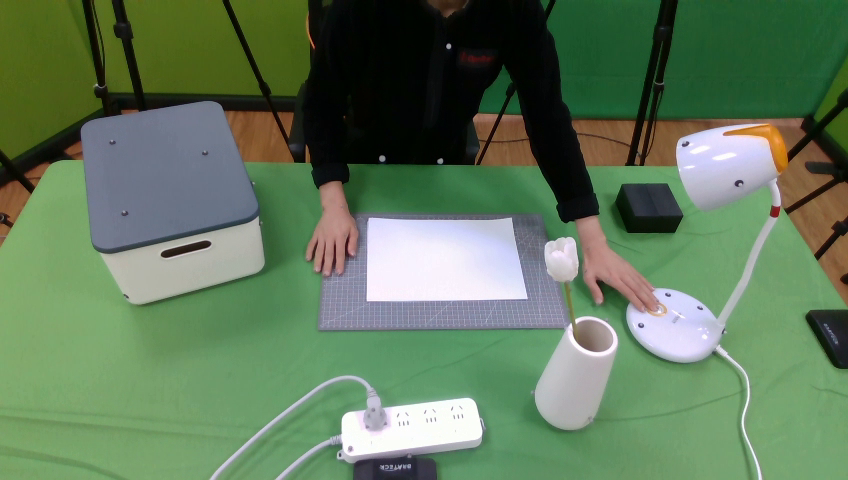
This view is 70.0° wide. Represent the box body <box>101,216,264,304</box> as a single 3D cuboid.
[{"bbox_3d":[-0.465,-0.076,1.137,0.254,0.161,0.361,-16,50,-19],"label":"box body"}]

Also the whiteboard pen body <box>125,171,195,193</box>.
[{"bbox_3d":[-0.553,-0.119,1.270,0.141,0.017,0.017,-18,50,-15],"label":"whiteboard pen body"}]

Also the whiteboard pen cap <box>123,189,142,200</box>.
[{"bbox_3d":[-0.591,-0.092,1.231,0.033,0.018,0.018,-14,49,-17],"label":"whiteboard pen cap"}]

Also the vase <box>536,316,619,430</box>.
[{"bbox_3d":[0.229,0.200,0.901,0.098,0.201,0.097,3,46,-3],"label":"vase"}]

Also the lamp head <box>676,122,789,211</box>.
[{"bbox_3d":[0.423,-0.104,0.819,0.122,0.113,0.112,-13,33,40],"label":"lamp head"}]

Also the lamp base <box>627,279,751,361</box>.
[{"bbox_3d":[0.459,0.100,1.027,0.178,0.181,0.160,27,51,17],"label":"lamp base"}]

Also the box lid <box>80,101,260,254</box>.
[{"bbox_3d":[-0.461,-0.127,1.082,0.264,0.015,0.369,-15,49,-19],"label":"box lid"}]

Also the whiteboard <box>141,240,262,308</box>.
[{"bbox_3d":[-0.464,-0.059,1.137,0.217,0.144,0.303,-19,51,-17],"label":"whiteboard"}]

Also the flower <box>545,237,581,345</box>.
[{"bbox_3d":[0.213,0.137,0.846,0.038,0.364,0.044,22,55,40],"label":"flower"}]

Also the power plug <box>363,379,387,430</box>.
[{"bbox_3d":[-0.071,0.252,0.911,0.035,0.053,0.072,3,40,0],"label":"power plug"}]

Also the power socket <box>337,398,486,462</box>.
[{"bbox_3d":[-0.018,0.285,0.914,0.227,0.033,0.071,-4,46,-8],"label":"power socket"}]
